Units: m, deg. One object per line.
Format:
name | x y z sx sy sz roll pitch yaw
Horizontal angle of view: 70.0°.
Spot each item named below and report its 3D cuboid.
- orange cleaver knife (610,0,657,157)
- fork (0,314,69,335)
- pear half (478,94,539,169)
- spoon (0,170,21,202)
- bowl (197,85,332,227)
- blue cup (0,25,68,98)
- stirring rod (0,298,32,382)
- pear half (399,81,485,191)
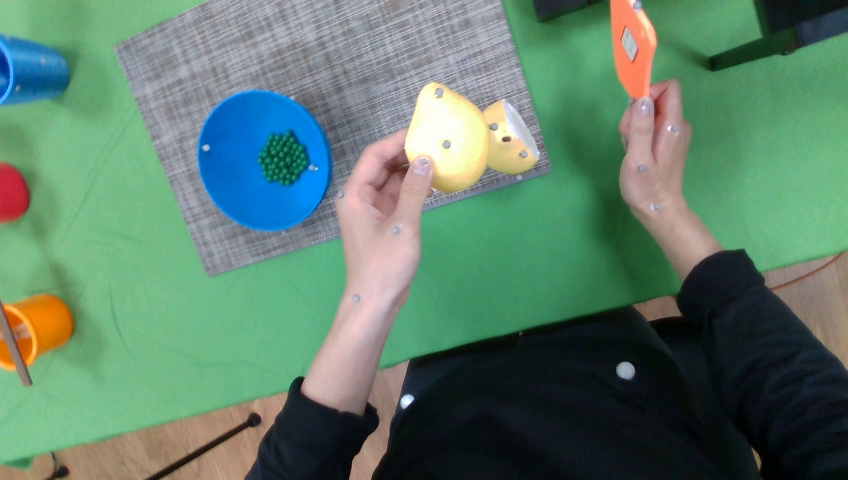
orange cleaver knife | 0.186 -0.150 0.540 0.012 0.213 0.076 -26 59 8
fork | -0.579 0.121 0.783 0.208 0.018 0.028 -7 116 -31
pear half | 0.077 -0.102 0.607 0.056 0.110 0.076 -36 90 18
spoon | -0.613 -0.051 0.753 0.194 0.021 0.042 -18 103 -29
bowl | -0.164 -0.095 0.677 0.151 0.076 0.152 3 104 12
blue cup | -0.478 -0.208 0.707 0.092 0.100 0.093 2 104 10
stirring rod | -0.533 0.100 0.767 0.014 0.006 0.177 -12 101 9
pear half | 0.018 -0.078 0.464 0.070 0.031 0.089 -32 122 -16
